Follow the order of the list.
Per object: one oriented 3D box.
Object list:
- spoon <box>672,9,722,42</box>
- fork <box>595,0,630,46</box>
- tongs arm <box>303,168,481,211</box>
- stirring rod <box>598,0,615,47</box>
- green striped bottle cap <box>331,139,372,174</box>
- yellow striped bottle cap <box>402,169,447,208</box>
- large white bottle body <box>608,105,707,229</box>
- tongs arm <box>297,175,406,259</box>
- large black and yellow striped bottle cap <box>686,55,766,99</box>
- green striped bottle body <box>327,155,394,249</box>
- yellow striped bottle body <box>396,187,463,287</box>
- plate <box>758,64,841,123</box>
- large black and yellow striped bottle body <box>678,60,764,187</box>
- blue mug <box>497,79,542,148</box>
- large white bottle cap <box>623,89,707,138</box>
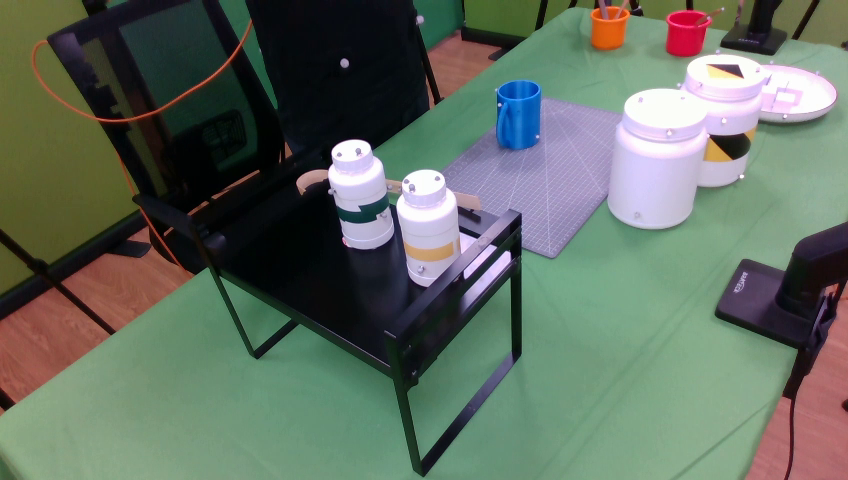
[{"bbox_3d":[0.606,-0.476,1.345,0.042,0.021,0.193,-6,-3,-2],"label":"spoon"},{"bbox_3d":[0.480,-0.556,1.453,0.028,0.019,0.207,41,103,40],"label":"fork"},{"bbox_3d":[-0.070,-0.086,1.049,0.381,0.026,0.051,16,46,39],"label":"tongs arm"},{"bbox_3d":[0.437,-0.551,1.462,0.014,0.006,0.175,-11,83,1],"label":"stirring rod"},{"bbox_3d":[-0.080,-0.092,0.665,0.044,0.020,0.044,-3,41,3],"label":"green striped bottle cap"},{"bbox_3d":[0.000,-0.052,0.605,0.044,0.019,0.044,-5,42,5],"label":"yellow striped bottle cap"},{"bbox_3d":[0.361,-0.124,0.941,0.130,0.185,0.130,-5,41,4],"label":"large white bottle body"},{"bbox_3d":[-0.128,-0.043,1.007,0.028,0.028,0.384,-36,38,-20],"label":"tongs arm"},{"bbox_3d":[0.474,-0.258,0.952,0.115,0.019,0.114,-5,41,5],"label":"large black and yellow striped bottle cap"},{"bbox_3d":[-0.073,-0.053,0.699,0.063,0.120,0.063,-5,41,4],"label":"green striped bottle body"},{"bbox_3d":[0.006,-0.013,0.638,0.063,0.121,0.062,-5,41,4],"label":"yellow striped bottle body"},{"bbox_3d":[0.694,-0.283,1.189,0.207,0.039,0.206,-4,40,4],"label":"plate"},{"bbox_3d":[0.482,-0.196,1.008,0.131,0.185,0.130,-4,41,4],"label":"large black and yellow striped bottle body"},{"bbox_3d":[0.174,-0.234,1.156,0.081,0.106,0.117,24,50,32],"label":"blue mug"},{"bbox_3d":[0.352,-0.187,0.886,0.115,0.018,0.114,-4,41,4],"label":"large white bottle cap"}]
